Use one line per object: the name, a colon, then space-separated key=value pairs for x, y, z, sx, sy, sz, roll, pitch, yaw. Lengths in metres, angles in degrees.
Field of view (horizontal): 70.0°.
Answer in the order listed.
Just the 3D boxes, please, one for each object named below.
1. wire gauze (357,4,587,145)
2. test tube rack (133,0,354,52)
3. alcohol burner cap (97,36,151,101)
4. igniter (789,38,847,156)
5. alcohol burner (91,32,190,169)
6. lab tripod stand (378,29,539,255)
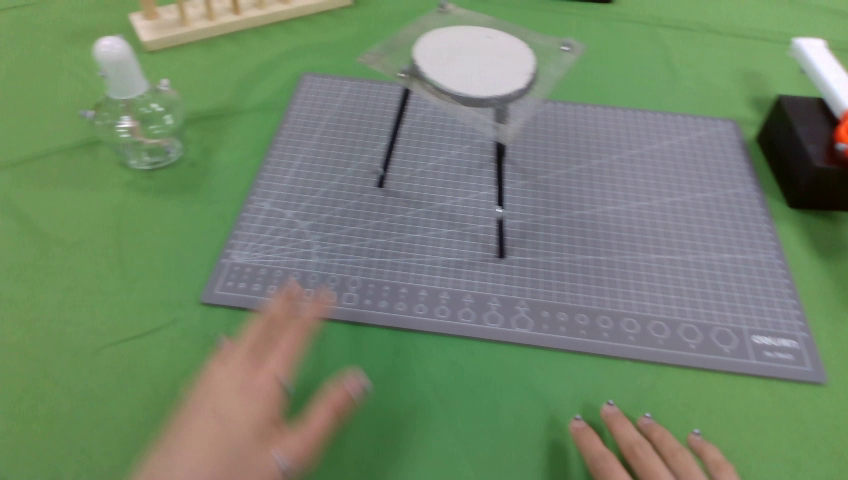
wire gauze: x=0.036 y=-0.126 z=0.425 sx=0.124 sy=0.011 sz=0.121 roll=30 pitch=54 yaw=19
test tube rack: x=-0.203 y=-0.293 z=0.680 sx=0.243 sy=0.086 sz=0.066 roll=-22 pitch=54 yaw=-21
alcohol burner cap: x=-0.242 y=-0.139 z=0.483 sx=0.034 sy=0.048 sz=0.033 roll=2 pitch=50 yaw=-2
igniter: x=0.381 y=-0.101 z=0.527 sx=0.057 sy=0.025 sz=0.274 roll=3 pitch=47 yaw=3
alcohol burner: x=-0.242 y=-0.118 z=0.507 sx=0.078 sy=0.120 sz=0.077 roll=1 pitch=51 yaw=-1
lab tripod stand: x=0.037 y=-0.081 z=0.475 sx=0.148 sy=0.132 sz=0.147 roll=3 pitch=49 yaw=-3
